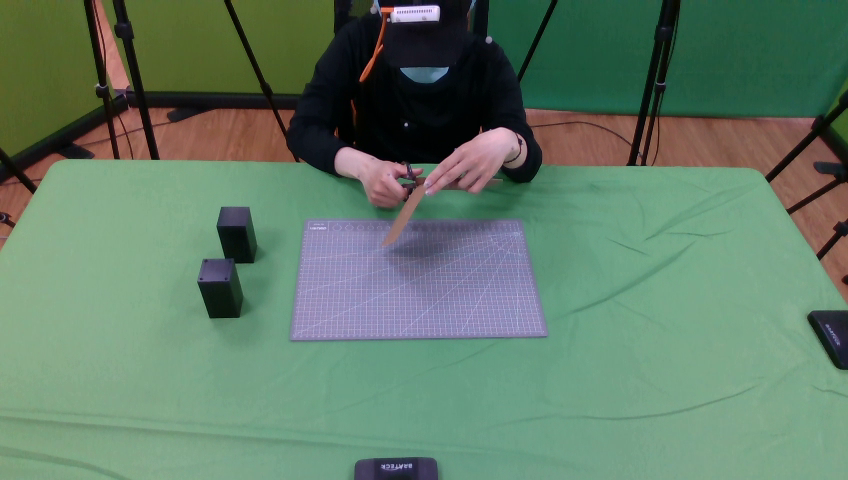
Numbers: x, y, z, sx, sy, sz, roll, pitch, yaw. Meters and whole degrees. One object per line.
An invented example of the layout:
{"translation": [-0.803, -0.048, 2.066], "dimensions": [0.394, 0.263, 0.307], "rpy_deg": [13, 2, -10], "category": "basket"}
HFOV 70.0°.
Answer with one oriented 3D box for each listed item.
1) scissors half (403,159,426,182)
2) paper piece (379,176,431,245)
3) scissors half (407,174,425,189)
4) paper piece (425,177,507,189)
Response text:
{"translation": [-0.018, -0.128, 1.165], "dimensions": [0.013, 0.040, 0.174], "rpy_deg": [-16, 19, -10], "category": "scissors half"}
{"translation": [-0.039, -0.052, 1.118], "dimensions": [0.004, 0.135, 0.135], "rpy_deg": [31, 79, -13], "category": "paper piece"}
{"translation": [-0.014, -0.107, 1.168], "dimensions": [0.013, 0.175, 0.040], "rpy_deg": [-11, 87, -10], "category": "scissors half"}
{"translation": [0.069, -0.109, 1.155], "dimensions": [0.138, 0.008, 0.135], "rpy_deg": [7, 4, -17], "category": "paper piece"}
